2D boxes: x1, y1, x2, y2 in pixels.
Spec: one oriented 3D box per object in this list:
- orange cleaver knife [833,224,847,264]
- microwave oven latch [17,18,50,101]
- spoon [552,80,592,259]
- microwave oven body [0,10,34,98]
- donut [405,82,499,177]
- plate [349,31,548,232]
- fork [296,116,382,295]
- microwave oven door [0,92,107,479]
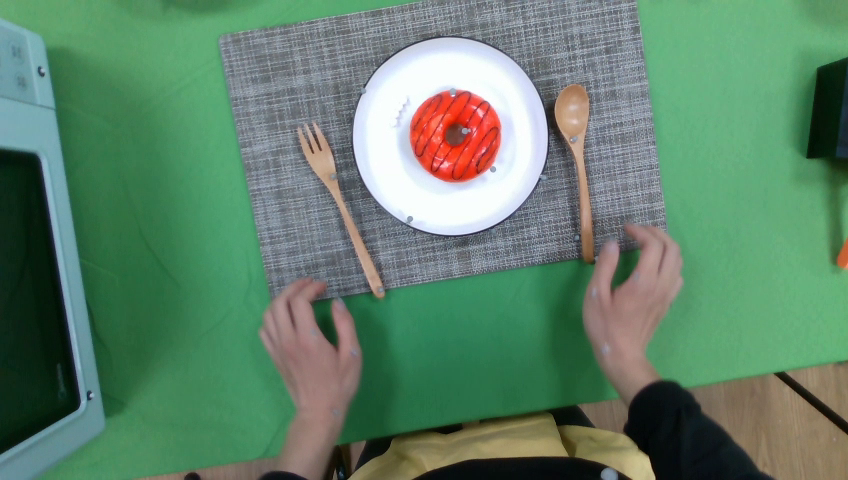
[{"bbox_3d":[0.472,-0.073,0.633,0.012,0.076,0.213,6,124,2],"label":"orange cleaver knife"},{"bbox_3d":[-0.411,-0.184,0.624,0.030,0.029,0.079,-6,96,0],"label":"microwave oven latch"},{"bbox_3d":[0.167,-0.074,0.658,0.042,0.021,0.194,-11,95,-23],"label":"spoon"},{"bbox_3d":[-0.540,0.014,0.545,0.326,0.259,0.442,-6,95,0],"label":"microwave oven body"},{"bbox_3d":[0.030,-0.115,0.635,0.099,0.048,0.099,0,97,2],"label":"donut"},{"bbox_3d":[0.025,-0.113,0.646,0.209,0.038,0.209,0,95,0],"label":"plate"},{"bbox_3d":[-0.090,-0.035,0.662,0.028,0.018,0.207,-24,94,-14],"label":"fork"},{"bbox_3d":[-0.390,0.041,0.543,0.039,0.243,0.356,-7,95,1],"label":"microwave oven door"}]
